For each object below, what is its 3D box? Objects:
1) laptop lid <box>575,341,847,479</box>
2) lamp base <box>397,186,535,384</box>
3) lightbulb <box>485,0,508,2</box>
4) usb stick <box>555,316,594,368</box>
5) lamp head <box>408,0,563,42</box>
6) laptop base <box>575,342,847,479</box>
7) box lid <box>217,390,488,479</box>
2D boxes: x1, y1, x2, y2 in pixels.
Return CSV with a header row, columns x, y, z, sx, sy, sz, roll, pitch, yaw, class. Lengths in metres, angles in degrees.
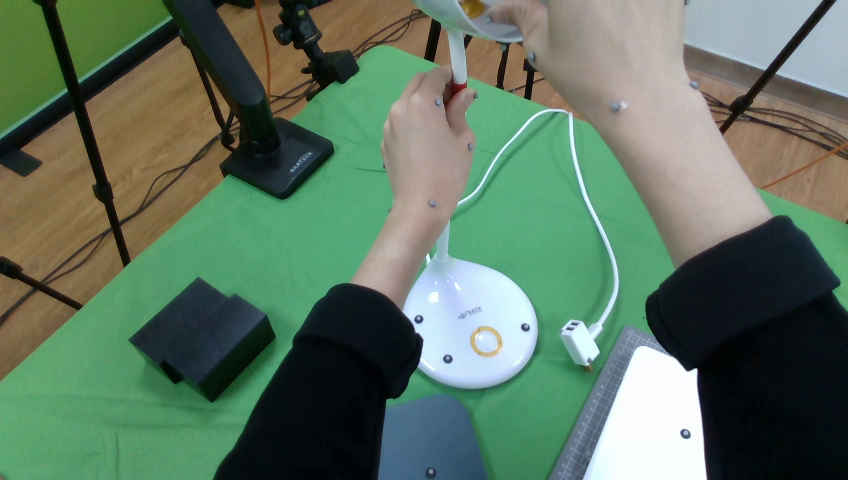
x,y,z,sx,sy,sz,roll,pitch,yaw,class
0.330,0.261,0.573,0.355,0.013,0.241,25,60,18,laptop lid
0.040,0.039,0.651,0.160,0.182,0.177,-31,56,-20,lamp base
0.034,-0.184,0.377,0.059,0.060,0.106,-23,37,-16,lightbulb
0.171,0.116,0.677,0.027,0.059,0.021,-37,19,-28,usb stick
0.026,-0.193,0.409,0.112,0.113,0.122,-32,29,-21,lamp head
0.332,0.267,0.584,0.352,0.023,0.234,24,61,17,laptop base
-0.043,0.328,0.545,0.264,0.015,0.367,-13,56,-9,box lid
